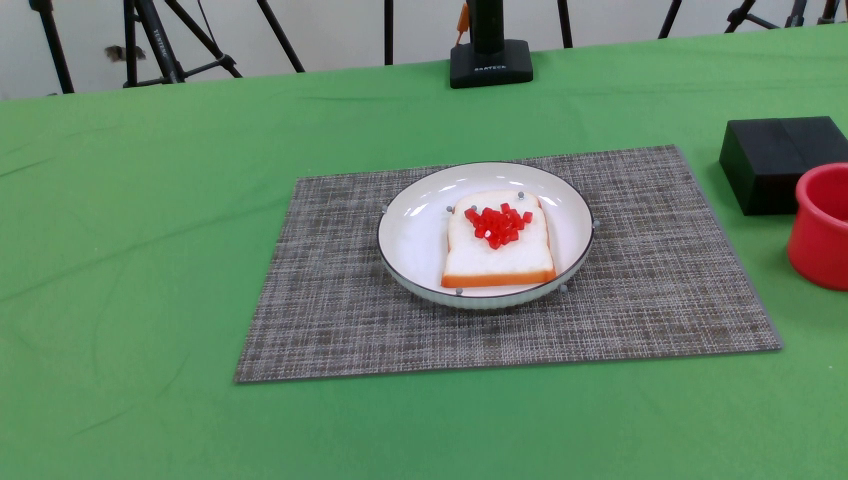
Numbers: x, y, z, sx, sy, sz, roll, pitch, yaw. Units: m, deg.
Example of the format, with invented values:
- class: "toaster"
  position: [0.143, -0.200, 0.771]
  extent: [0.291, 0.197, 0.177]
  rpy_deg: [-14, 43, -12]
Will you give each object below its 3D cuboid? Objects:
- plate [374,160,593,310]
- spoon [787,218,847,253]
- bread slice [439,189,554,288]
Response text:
- class: "plate"
  position: [0.056, -0.006, 0.594]
  extent: [0.209, 0.038, 0.207]
  rpy_deg: [-5, 41, 5]
- class: "spoon"
  position: [0.392, -0.026, 0.484]
  extent: [0.022, 0.193, 0.041]
  rpy_deg: [47, 52, -9]
- class: "bread slice"
  position: [0.069, -0.005, 0.595]
  extent: [0.105, 0.019, 0.130]
  rpy_deg: [-2, 42, 6]
